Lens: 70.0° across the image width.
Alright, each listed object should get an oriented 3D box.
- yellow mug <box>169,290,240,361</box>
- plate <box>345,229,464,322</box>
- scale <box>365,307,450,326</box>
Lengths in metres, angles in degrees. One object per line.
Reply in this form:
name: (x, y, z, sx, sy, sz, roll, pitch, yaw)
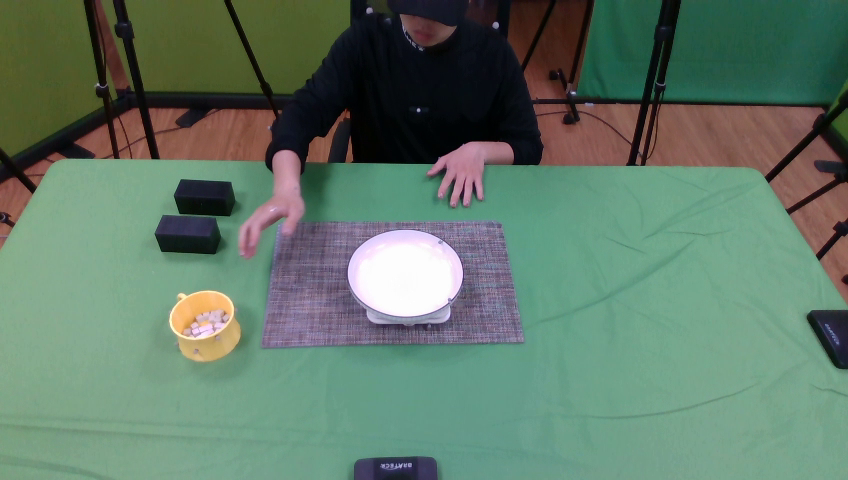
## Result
yellow mug: (-0.373, 0.132, 1.009, 0.130, 0.064, 0.100, 35, 53, 27)
plate: (-0.034, 0.065, 1.073, 0.209, 0.038, 0.208, 2, 46, -2)
scale: (-0.032, 0.071, 1.113, 0.149, 0.032, 0.199, 0, 46, -4)
